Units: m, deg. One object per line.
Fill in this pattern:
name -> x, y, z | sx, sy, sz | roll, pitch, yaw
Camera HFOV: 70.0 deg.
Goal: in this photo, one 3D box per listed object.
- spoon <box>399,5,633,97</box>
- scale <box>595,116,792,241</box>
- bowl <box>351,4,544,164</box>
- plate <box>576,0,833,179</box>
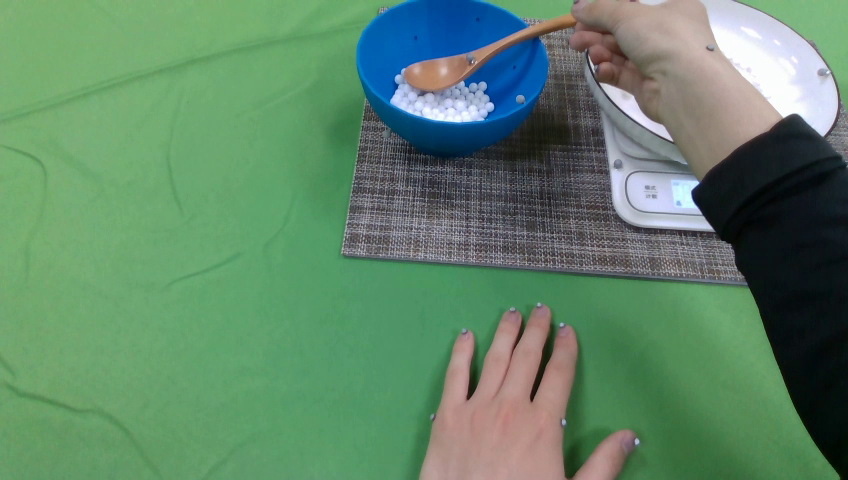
spoon -> 0.072, -0.154, 0.490 | 0.193, 0.022, 0.041 | -18, 47, 11
scale -> 0.225, -0.090, 0.525 | 0.149, 0.032, 0.199 | 4, 56, -1
bowl -> 0.017, -0.117, 0.501 | 0.151, 0.077, 0.150 | 2, 55, -2
plate -> 0.228, -0.128, 0.511 | 0.209, 0.038, 0.207 | 2, 56, -3
